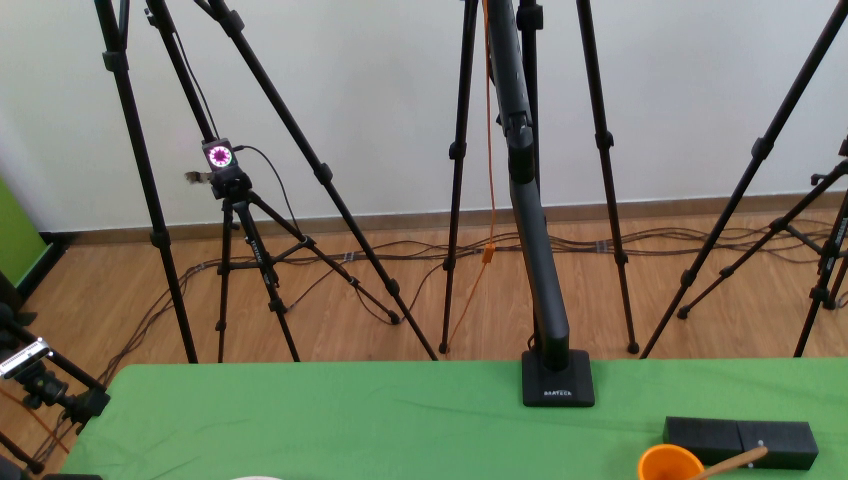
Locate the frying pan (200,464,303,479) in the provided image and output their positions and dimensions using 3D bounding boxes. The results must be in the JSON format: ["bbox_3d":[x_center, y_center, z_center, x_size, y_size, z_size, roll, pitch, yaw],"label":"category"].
[{"bbox_3d":[-0.276,0.520,0.762,0.306,0.103,0.484,-3,33,9],"label":"frying pan"}]

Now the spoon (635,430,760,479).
[{"bbox_3d":[0.375,0.307,0.838,0.022,0.194,0.041,27,39,-24],"label":"spoon"}]
